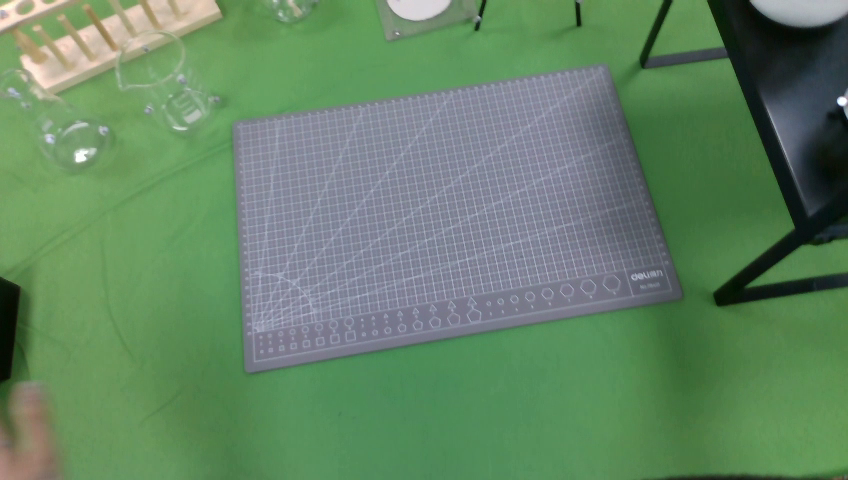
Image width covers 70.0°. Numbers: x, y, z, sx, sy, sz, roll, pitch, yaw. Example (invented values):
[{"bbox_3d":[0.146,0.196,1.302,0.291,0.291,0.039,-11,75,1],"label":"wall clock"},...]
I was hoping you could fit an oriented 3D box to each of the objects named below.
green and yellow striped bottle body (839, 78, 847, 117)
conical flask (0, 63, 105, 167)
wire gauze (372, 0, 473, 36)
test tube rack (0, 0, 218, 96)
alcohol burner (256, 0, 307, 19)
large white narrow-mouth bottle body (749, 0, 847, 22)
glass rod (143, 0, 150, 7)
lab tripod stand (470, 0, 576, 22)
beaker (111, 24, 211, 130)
[{"bbox_3d":[0.365,-0.132,0.435,0.063,0.120,0.062,-1,69,3],"label":"green and yellow striped bottle body"},{"bbox_3d":[-0.411,-0.138,0.655,0.075,0.123,0.075,-1,68,2],"label":"conical flask"},{"bbox_3d":[-0.009,-0.324,0.774,0.121,0.011,0.124,-14,69,-5],"label":"wire gauze"},{"bbox_3d":[-0.385,-0.273,0.726,0.242,0.086,0.066,-29,71,-9],"label":"test tube rack"},{"bbox_3d":[-0.179,-0.326,0.725,0.078,0.120,0.077,0,66,1],"label":"alcohol burner"},{"bbox_3d":[0.319,-0.265,0.449,0.102,0.196,0.101,-1,67,3],"label":"large white narrow-mouth bottle body"},{"bbox_3d":[-0.346,-0.337,0.678,0.008,0.201,0.008,1,66,-2],"label":"glass rod"},{"bbox_3d":[0.121,-0.329,0.705,0.148,0.132,0.147,0,68,0],"label":"lab tripod stand"},{"bbox_3d":[-0.291,-0.175,0.678,0.073,0.101,0.084,35,74,15],"label":"beaker"}]
